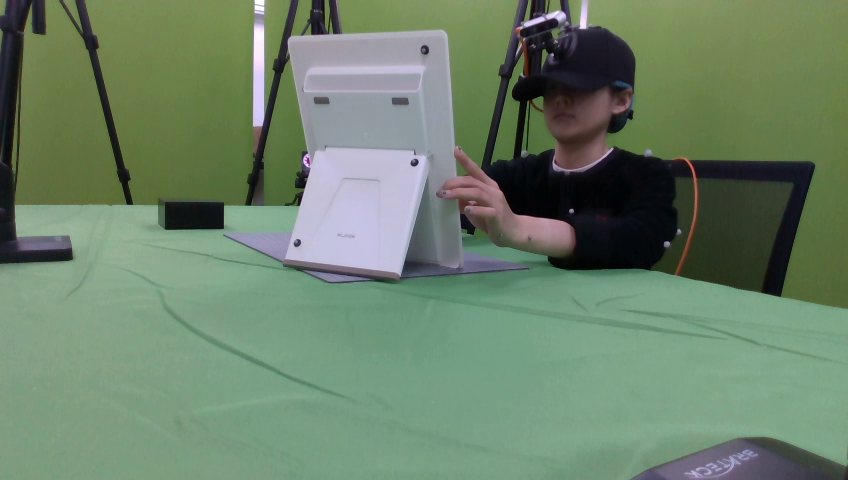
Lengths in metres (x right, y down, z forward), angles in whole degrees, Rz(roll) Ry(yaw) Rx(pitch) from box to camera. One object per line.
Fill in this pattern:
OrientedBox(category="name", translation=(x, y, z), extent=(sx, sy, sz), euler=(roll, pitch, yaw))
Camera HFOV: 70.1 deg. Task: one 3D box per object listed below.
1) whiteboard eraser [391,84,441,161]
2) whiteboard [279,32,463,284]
OrientedBox(category="whiteboard eraser", translation=(-0.011, -0.145, 0.751), extent=(0.041, 0.101, 0.019), euler=(29, 33, 9))
OrientedBox(category="whiteboard", translation=(-0.087, -0.080, 0.728), extent=(0.216, 0.305, 0.144), euler=(7, 28, 24))
